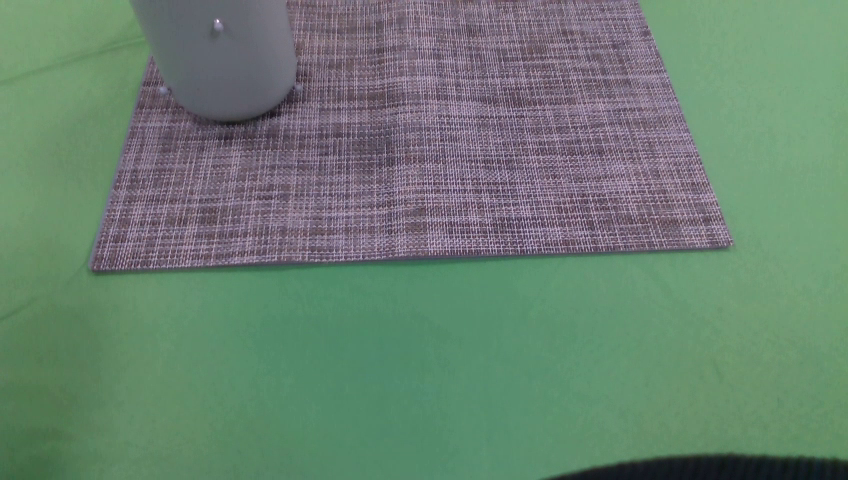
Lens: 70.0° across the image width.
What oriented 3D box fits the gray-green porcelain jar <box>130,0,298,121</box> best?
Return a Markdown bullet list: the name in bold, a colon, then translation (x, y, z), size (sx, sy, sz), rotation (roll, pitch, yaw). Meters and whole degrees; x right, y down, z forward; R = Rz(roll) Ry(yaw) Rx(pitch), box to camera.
- **gray-green porcelain jar**: translation (-0.154, -0.163, 0.456), size (0.106, 0.127, 0.105), rotation (1, 57, -1)
